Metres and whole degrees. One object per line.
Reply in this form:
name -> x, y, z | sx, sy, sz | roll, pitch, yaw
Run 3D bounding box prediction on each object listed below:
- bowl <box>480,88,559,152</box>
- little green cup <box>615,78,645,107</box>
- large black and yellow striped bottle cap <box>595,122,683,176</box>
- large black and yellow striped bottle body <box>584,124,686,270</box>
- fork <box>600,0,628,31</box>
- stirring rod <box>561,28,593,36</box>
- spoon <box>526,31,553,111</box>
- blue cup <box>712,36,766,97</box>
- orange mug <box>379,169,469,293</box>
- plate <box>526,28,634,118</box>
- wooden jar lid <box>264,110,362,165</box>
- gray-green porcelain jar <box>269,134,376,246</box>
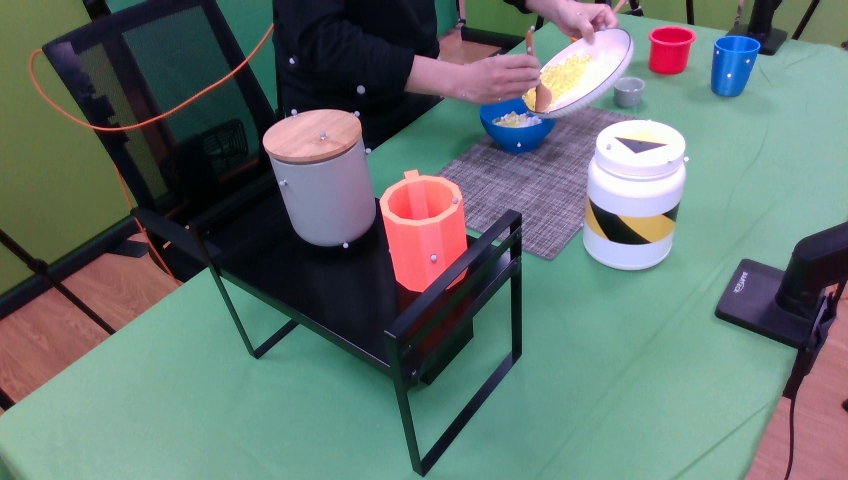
bowl -> 0.185, -0.222, 1.161 | 0.151, 0.077, 0.150 | -3, 40, 3
little green cup -> 0.426, -0.306, 1.257 | 0.061, 0.039, 0.061 | -4, 40, 4
large black and yellow striped bottle cap -> 0.293, -0.126, 0.826 | 0.115, 0.019, 0.114 | -3, 40, 3
large black and yellow striped bottle body -> 0.304, -0.063, 0.880 | 0.131, 0.185, 0.130 | -5, 41, 5
fork -> 0.413, -0.481, 1.377 | 0.207, 0.019, 0.028 | -56, 43, 12
stirring rod -> 0.382, -0.454, 1.345 | 0.174, 0.006, 0.014 | 27, 52, 34
spoon -> 0.188, -0.279, 1.012 | 0.041, 0.195, 0.021 | -41, 56, -2
blue cup -> 0.627, -0.350, 1.227 | 0.092, 0.100, 0.092 | -4, 39, 4
orange mug -> -0.002, -0.019, 0.665 | 0.083, 0.101, 0.125 | -12, 45, -4
plate -> 0.281, -0.292, 1.081 | 0.208, 0.038, 0.208 | -32, 31, 23
wooden jar lid -> -0.122, -0.112, 0.673 | 0.108, 0.021, 0.108 | -4, 37, 4
gray-green porcelain jar -> -0.115, -0.064, 0.715 | 0.106, 0.127, 0.105 | -4, 40, 4
